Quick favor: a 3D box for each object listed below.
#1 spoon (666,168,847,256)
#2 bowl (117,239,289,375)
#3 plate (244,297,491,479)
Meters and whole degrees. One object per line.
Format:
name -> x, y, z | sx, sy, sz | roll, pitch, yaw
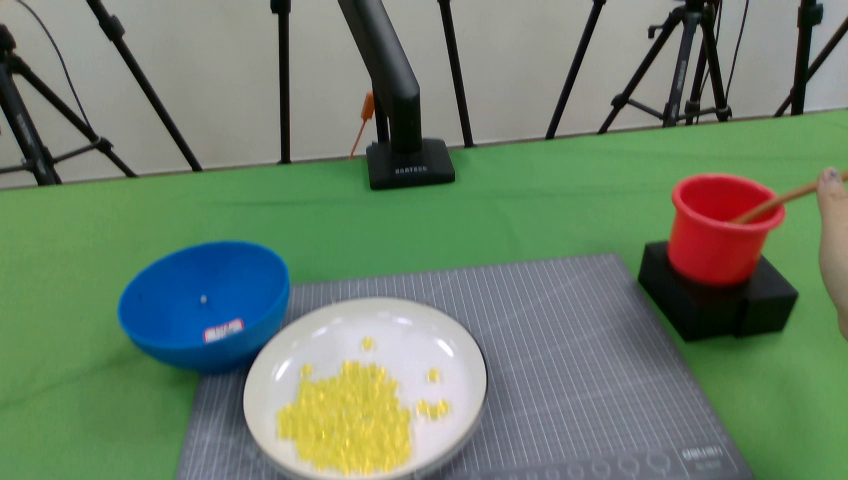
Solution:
spoon -> 0.315, -0.028, 0.555 | 0.193, 0.022, 0.041 | -33, 14, 37
bowl -> -0.199, 0.074, 0.577 | 0.151, 0.077, 0.150 | -1, 36, 1
plate -> -0.047, 0.131, 0.527 | 0.208, 0.039, 0.205 | -1, 36, 1
